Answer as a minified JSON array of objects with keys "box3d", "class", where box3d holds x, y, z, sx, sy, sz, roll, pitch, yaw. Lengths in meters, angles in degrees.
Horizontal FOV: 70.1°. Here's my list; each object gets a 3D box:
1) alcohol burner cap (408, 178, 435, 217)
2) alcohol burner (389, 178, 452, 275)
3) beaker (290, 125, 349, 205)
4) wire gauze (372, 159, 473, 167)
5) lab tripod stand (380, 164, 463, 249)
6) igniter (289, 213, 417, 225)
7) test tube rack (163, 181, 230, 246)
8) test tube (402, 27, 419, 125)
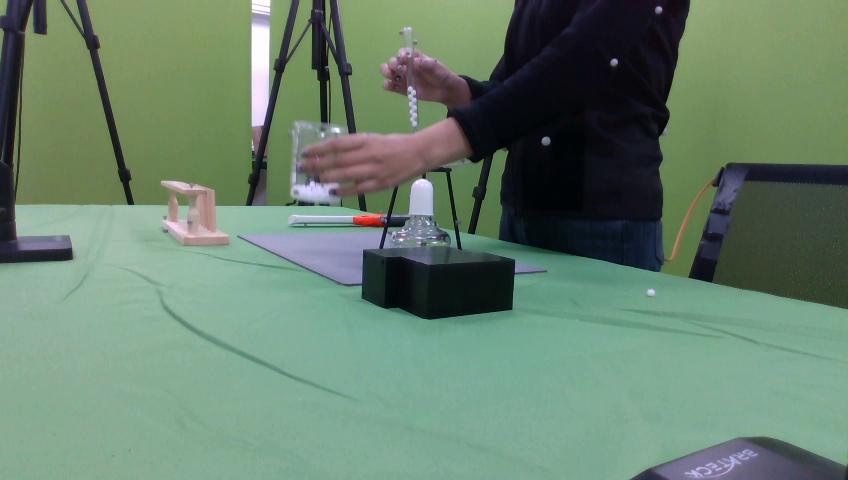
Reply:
[{"box3d":[-0.003,-0.053,0.745,0.034,0.048,0.034,2,3,0],"class":"alcohol burner cap"},{"box3d":[-0.004,-0.017,0.748,0.078,0.119,0.078,1,9,0],"class":"alcohol burner"},{"box3d":[-0.142,-0.100,0.813,0.074,0.100,0.084,5,7,-9],"class":"beaker"},{"box3d":[-0.004,-0.122,0.958,0.122,0.011,0.124,-4,9,-33],"class":"wire gauze"},{"box3d":[-0.004,-0.055,0.967,0.148,0.131,0.148,2,9,0],"class":"lab tripod stand"},{"box3d":[-0.144,-0.044,1.275,0.278,0.025,0.057,-1,-2,-27],"class":"igniter"},{"box3d":[-0.387,-0.050,1.015,0.067,0.085,0.241,-2,9,-30],"class":"test tube rack"},{"box3d":[-0.021,-0.256,0.948,0.017,0.150,0.017,-4,10,1],"class":"test tube"}]
